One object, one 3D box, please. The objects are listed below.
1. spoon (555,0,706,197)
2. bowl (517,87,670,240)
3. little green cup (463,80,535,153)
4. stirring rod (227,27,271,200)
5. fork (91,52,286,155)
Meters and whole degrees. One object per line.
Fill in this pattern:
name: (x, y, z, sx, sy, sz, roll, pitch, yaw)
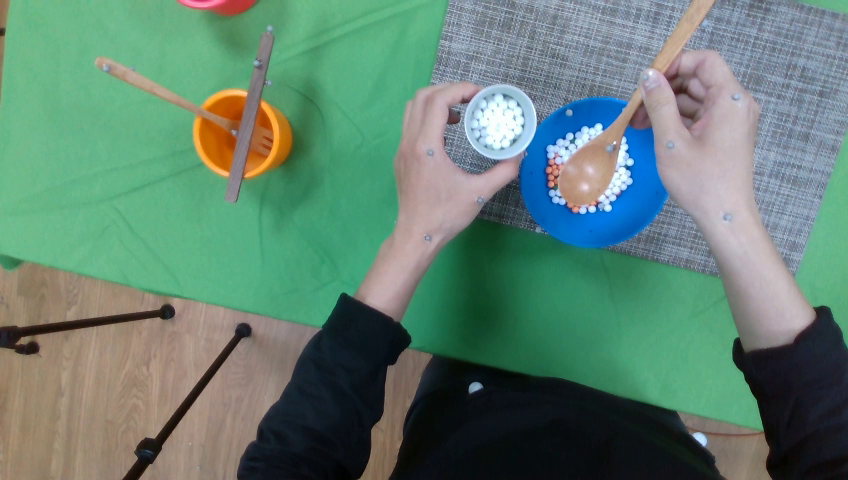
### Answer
spoon: (0.160, -0.113, 0.460, 0.041, 0.021, 0.194, 38, 126, 13)
bowl: (0.171, -0.079, 0.639, 0.151, 0.076, 0.152, 1, 100, 4)
little green cup: (0.062, -0.107, 0.525, 0.061, 0.038, 0.062, -1, 102, -3)
stirring rod: (-0.179, -0.127, 0.619, 0.014, 0.006, 0.176, 15, 101, 3)
fork: (-0.232, -0.137, 0.623, 0.209, 0.018, 0.028, 23, 107, -44)
